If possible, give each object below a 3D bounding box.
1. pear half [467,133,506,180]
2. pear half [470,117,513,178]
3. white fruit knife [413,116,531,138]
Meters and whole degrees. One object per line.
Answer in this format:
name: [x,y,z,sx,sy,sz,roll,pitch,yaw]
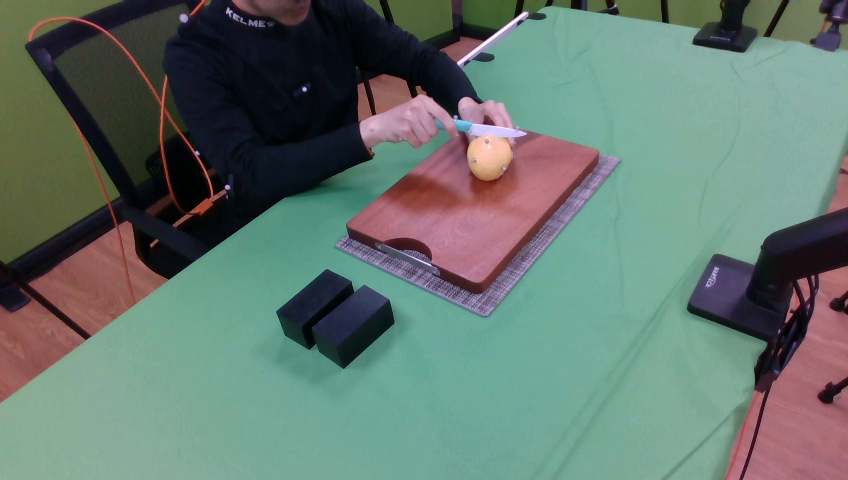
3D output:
pear half: [0.101,-0.134,1.015,0.070,0.088,0.031,16,46,16]
pear half: [0.117,-0.165,1.031,0.076,0.110,0.056,15,43,18]
white fruit knife: [0.076,-0.187,1.002,0.206,0.027,0.016,10,45,21]
